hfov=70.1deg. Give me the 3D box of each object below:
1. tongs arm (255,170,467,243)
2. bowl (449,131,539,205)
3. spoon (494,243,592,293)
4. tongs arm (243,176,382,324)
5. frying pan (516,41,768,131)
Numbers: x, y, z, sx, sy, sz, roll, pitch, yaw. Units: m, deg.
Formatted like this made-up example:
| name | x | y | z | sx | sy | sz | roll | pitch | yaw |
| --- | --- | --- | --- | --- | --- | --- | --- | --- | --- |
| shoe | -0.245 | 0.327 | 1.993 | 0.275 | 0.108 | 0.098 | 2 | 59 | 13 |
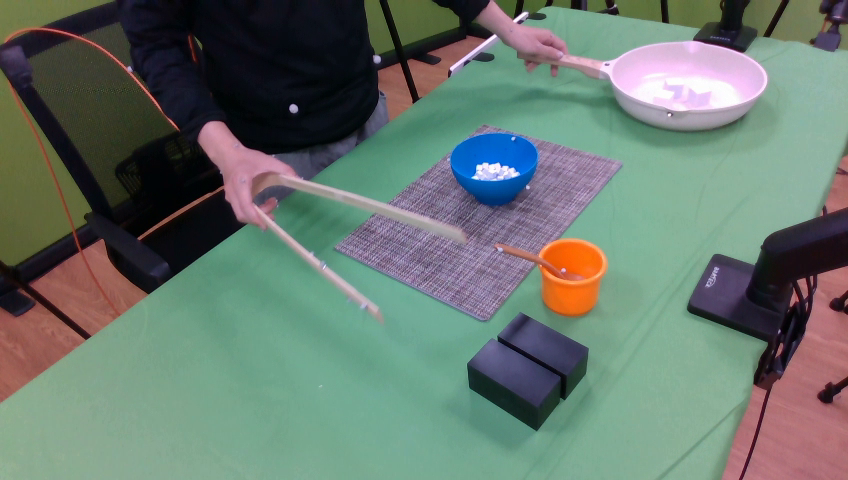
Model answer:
| name | x | y | z | sx | sy | sz | roll | pitch | yaw |
| --- | --- | --- | --- | --- | --- | --- | --- | --- | --- |
| tongs arm | -0.101 | -0.051 | 0.832 | 0.384 | 0.028 | 0.028 | 18 | 61 | 35 |
| bowl | 0.121 | -0.114 | 1.034 | 0.151 | 0.077 | 0.150 | -4 | 41 | 4 |
| spoon | 0.162 | 0.034 | 0.808 | 0.021 | 0.195 | 0.041 | -47 | 40 | 21 |
| tongs arm | -0.154 | -0.001 | 0.802 | 0.051 | 0.027 | 0.381 | -42 | 45 | -18 |
| frying pan | 0.424 | -0.338 | 1.236 | 0.486 | 0.103 | 0.307 | 19 | 45 | 15 |
